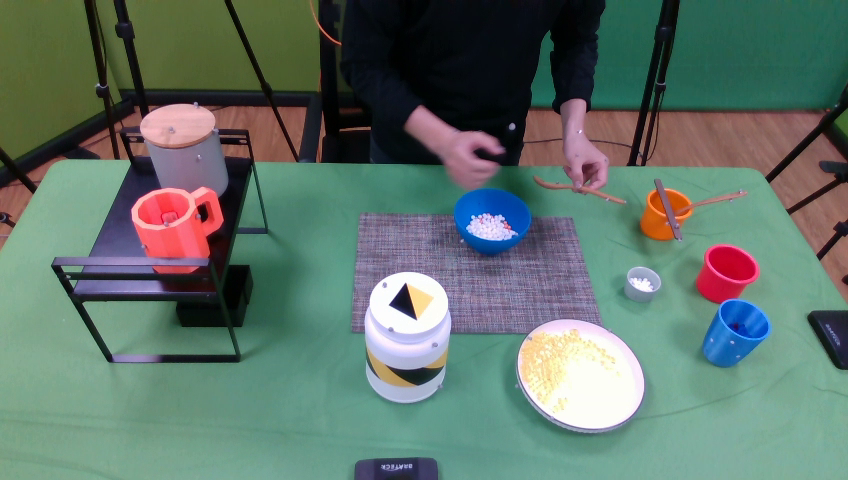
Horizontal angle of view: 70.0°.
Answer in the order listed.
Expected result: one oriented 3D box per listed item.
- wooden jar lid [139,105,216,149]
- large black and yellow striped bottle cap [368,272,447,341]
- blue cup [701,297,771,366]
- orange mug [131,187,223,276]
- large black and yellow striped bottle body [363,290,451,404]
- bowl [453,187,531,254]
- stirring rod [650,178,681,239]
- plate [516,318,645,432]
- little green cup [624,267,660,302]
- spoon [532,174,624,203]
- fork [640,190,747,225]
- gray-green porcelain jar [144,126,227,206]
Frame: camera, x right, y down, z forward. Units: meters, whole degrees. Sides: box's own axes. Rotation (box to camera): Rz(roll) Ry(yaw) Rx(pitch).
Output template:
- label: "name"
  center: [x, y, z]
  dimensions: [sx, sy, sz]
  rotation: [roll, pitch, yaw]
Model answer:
- label: "wooden jar lid"
  center: [-0.372, -0.169, 0.920]
  dimensions: [0.108, 0.021, 0.107]
  rotation: [4, 43, -4]
- label: "large black and yellow striped bottle cap"
  center: [-0.023, 0.093, 0.875]
  dimensions: [0.115, 0.019, 0.114]
  rotation: [3, 46, -3]
- label: "blue cup"
  center: [0.519, 0.162, 1.025]
  dimensions: [0.093, 0.101, 0.092]
  rotation: [3, 45, -3]
- label: "orange mug"
  center: [-0.354, -0.022, 0.888]
  dimensions: [0.083, 0.101, 0.126]
  rotation: [31, 55, 24]
- label: "large black and yellow striped bottle body"
  center: [-0.027, 0.153, 0.935]
  dimensions: [0.131, 0.185, 0.130]
  rotation: [2, 46, -2]
- label: "bowl"
  center: [0.129, -0.025, 1.187]
  dimensions: [0.151, 0.077, 0.150]
  rotation: [2, 46, -2]
- label: "stirring rod"
  center: [0.479, -0.065, 1.204]
  dimensions: [0.014, 0.006, 0.175]
  rotation: [3, 46, -4]
- label: "plate"
  center: [0.253, 0.221, 0.993]
  dimensions: [0.209, 0.038, 0.208]
  rotation: [2, 46, -2]
- label: "little green cup"
  center: [0.406, 0.084, 1.135]
  dimensions: [0.061, 0.039, 0.061]
  rotation: [3, 45, -3]
- label: "spoon"
  center: [0.288, -0.098, 1.148]
  dimensions: [0.193, 0.021, 0.042]
  rotation: [17, 2, 38]
- label: "fork"
  center: [0.533, -0.064, 1.211]
  dimensions: [0.207, 0.019, 0.028]
  rotation: [-22, 28, 38]
- label: "gray-green porcelain jar"
  center: [-0.375, -0.126, 0.967]
  dimensions: [0.106, 0.127, 0.105]
  rotation: [2, 46, -2]
